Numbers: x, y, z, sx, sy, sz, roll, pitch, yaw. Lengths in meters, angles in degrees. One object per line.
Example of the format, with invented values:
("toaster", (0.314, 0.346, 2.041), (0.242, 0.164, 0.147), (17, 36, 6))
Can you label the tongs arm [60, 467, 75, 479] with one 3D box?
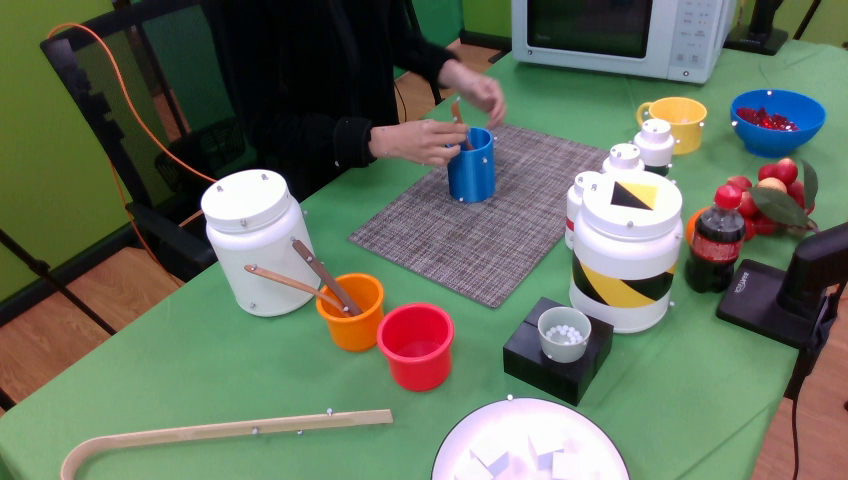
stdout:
("tongs arm", (-0.239, 0.301, 0.648), (0.386, 0.028, 0.028), (6, 49, 16))

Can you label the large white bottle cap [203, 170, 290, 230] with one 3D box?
("large white bottle cap", (-0.241, -0.057, 0.822), (0.115, 0.018, 0.114), (-4, 41, 4))

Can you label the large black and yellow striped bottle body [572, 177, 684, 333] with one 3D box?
("large black and yellow striped bottle body", (0.262, 0.017, 0.788), (0.131, 0.185, 0.130), (-5, 40, 4))

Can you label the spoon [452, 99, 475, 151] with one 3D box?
("spoon", (0.071, -0.165, 0.999), (0.041, 0.195, 0.021), (-37, 53, -4))

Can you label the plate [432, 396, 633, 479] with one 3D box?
("plate", (0.112, 0.261, 0.634), (0.209, 0.038, 0.208), (-5, 40, 4))

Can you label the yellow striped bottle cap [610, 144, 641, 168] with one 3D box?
("yellow striped bottle cap", (0.307, -0.128, 0.923), (0.044, 0.019, 0.044), (-5, 39, 5))

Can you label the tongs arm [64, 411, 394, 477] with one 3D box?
("tongs arm", (-0.228, 0.241, 0.715), (0.385, 0.026, 0.050), (-5, 43, 4))

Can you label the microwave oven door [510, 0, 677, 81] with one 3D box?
("microwave oven door", (0.354, -0.478, 1.290), (0.353, 0.245, 0.039), (15, 45, 25))

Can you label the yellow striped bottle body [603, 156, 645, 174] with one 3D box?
("yellow striped bottle body", (0.313, -0.089, 0.956), (0.063, 0.121, 0.062), (-4, 40, 4))

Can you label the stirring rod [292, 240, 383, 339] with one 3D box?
("stirring rod", (-0.118, 0.068, 0.826), (0.176, 0.006, 0.014), (49, 59, -4))

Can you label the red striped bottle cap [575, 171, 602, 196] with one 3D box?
("red striped bottle cap", (0.242, -0.081, 0.876), (0.044, 0.018, 0.044), (-5, 44, 5))

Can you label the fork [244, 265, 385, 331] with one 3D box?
("fork", (-0.142, 0.078, 0.806), (0.209, 0.018, 0.028), (30, 33, -23))

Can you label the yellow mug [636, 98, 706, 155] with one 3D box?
("yellow mug", (0.453, -0.217, 1.128), (0.100, 0.064, 0.129), (-34, 46, -27))

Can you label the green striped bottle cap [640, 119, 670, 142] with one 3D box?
("green striped bottle cap", (0.371, -0.175, 0.968), (0.044, 0.020, 0.044), (-4, 41, 4))

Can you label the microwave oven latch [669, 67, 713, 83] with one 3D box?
("microwave oven latch", (0.556, -0.348, 1.261), (0.078, 0.029, 0.030), (16, 46, 27))

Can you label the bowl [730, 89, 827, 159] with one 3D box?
("bowl", (0.615, -0.197, 1.069), (0.151, 0.077, 0.150), (-5, 40, 5))

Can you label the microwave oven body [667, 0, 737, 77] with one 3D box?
("microwave oven body", (0.462, -0.552, 1.369), (0.439, 0.261, 0.326), (15, 45, 26))

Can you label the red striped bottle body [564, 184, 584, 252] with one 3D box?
("red striped bottle body", (0.247, -0.041, 0.910), (0.063, 0.120, 0.062), (-3, 39, 3))

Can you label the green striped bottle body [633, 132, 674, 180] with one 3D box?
("green striped bottle body", (0.376, -0.135, 1.001), (0.063, 0.120, 0.063), (-5, 40, 4))

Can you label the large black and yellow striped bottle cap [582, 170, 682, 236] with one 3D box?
("large black and yellow striped bottle cap", (0.252, -0.048, 0.735), (0.115, 0.019, 0.114), (-3, 40, 3))

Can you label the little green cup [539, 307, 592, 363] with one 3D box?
("little green cup", (0.168, 0.115, 0.721), (0.061, 0.039, 0.061), (-4, 42, 4))

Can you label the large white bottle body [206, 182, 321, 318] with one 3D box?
("large white bottle body", (-0.233, 0.007, 0.876), (0.130, 0.185, 0.130), (-5, 40, 4))

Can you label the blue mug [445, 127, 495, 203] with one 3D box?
("blue mug", (0.082, -0.140, 1.059), (0.082, 0.106, 0.116), (-3, 40, 5))
